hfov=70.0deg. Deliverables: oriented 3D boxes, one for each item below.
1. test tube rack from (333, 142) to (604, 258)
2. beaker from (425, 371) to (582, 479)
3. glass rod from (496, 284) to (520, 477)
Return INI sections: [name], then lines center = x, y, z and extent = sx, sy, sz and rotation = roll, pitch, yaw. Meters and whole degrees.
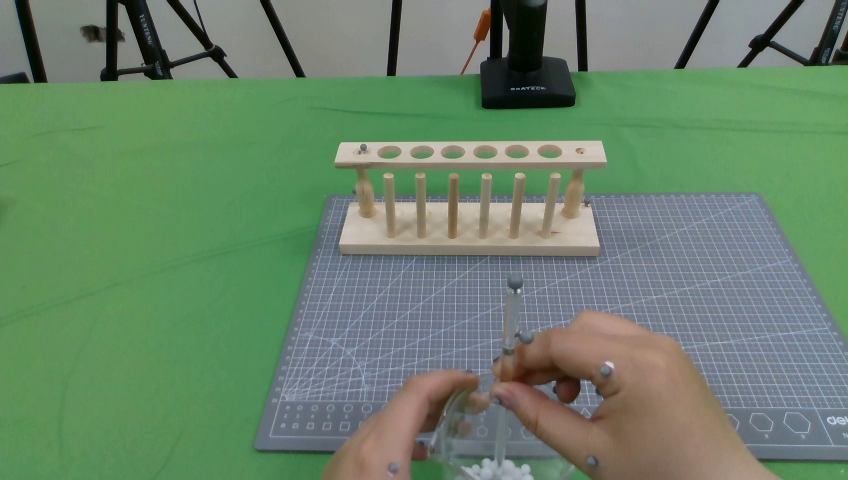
[test tube rack]
center = 0.039, -0.038, 0.565
extent = 0.242, 0.086, 0.066
rotation = 1, 42, 4
[beaker]
center = 0.041, 0.137, 0.349
extent = 0.084, 0.101, 0.073
rotation = -10, 41, -11
[glass rod]
center = 0.043, 0.085, 0.317
extent = 0.008, 0.201, 0.008
rotation = -2, 48, 3
